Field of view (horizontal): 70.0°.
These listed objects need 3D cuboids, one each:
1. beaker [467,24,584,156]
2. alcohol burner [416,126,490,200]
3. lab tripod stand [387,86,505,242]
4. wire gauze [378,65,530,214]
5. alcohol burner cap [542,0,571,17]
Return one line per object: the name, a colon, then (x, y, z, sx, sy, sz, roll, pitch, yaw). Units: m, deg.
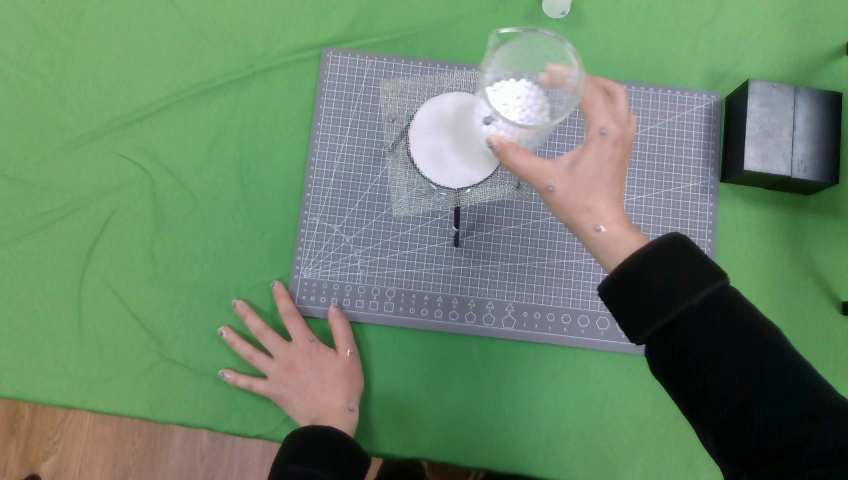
beaker: (0.070, -0.112, 0.473, 0.074, 0.100, 0.084, -36, 85, -5)
alcohol burner: (0.029, -0.082, 0.606, 0.078, 0.119, 0.077, 0, 80, 0)
lab tripod stand: (0.028, -0.079, 0.595, 0.148, 0.131, 0.148, 0, 83, -3)
wire gauze: (0.025, -0.091, 0.529, 0.121, 0.011, 0.124, -6, 84, -3)
alcohol burner cap: (0.151, -0.275, 0.674, 0.034, 0.048, 0.033, 0, 82, 2)
